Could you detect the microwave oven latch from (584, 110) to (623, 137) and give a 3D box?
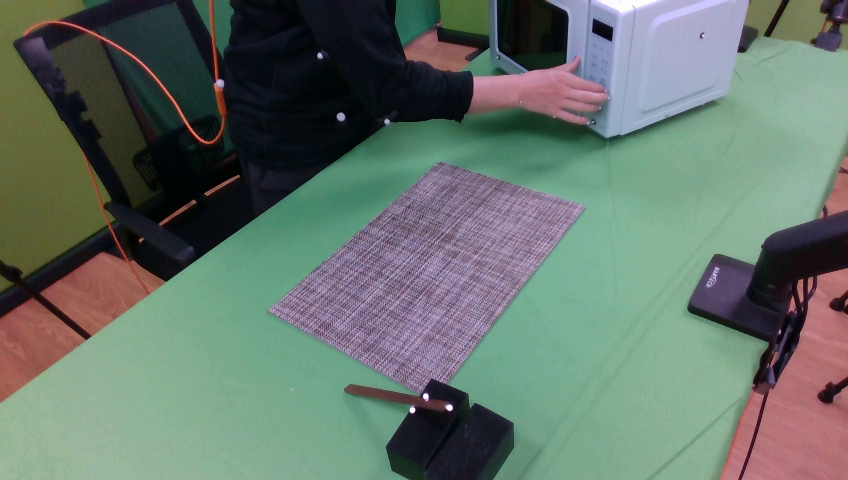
[{"bbox_3d":[0.337,-0.222,1.142,0.030,0.029,0.078,-20,42,-14],"label":"microwave oven latch"}]

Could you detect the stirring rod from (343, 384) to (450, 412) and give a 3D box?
[{"bbox_3d":[-0.037,0.186,0.714,0.175,0.006,0.014,-4,22,43],"label":"stirring rod"}]

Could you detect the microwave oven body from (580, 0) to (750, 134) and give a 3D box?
[{"bbox_3d":[0.382,-0.445,1.246,0.327,0.261,0.437,-22,42,-16],"label":"microwave oven body"}]

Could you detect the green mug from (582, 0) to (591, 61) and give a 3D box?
[{"bbox_3d":[0.328,-0.433,1.269,0.092,0.105,0.125,12,43,23],"label":"green mug"}]

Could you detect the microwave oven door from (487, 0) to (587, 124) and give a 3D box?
[{"bbox_3d":[0.229,-0.419,1.230,0.039,0.245,0.352,-21,42,-15],"label":"microwave oven door"}]
